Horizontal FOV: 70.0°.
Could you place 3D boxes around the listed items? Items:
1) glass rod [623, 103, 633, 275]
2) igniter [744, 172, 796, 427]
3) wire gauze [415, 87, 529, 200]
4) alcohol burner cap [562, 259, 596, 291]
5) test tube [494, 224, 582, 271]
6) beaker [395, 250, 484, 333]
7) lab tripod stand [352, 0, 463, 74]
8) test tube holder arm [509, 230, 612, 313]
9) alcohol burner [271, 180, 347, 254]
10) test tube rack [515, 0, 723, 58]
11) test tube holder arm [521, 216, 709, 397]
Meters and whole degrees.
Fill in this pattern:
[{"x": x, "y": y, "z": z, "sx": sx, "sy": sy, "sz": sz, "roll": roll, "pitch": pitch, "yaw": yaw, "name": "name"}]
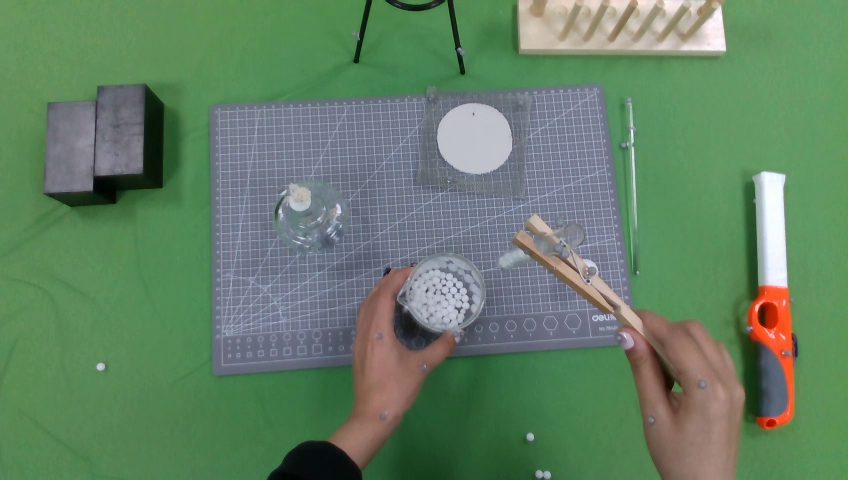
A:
[{"x": 0.231, "y": -0.060, "z": 0.684, "sx": 0.008, "sy": 0.008, "sz": 0.199, "roll": 2, "pitch": 81, "yaw": -2, "name": "glass rod"}, {"x": 0.373, "y": 0.061, "z": 0.657, "sx": 0.057, "sy": 0.025, "sz": 0.275, "roll": 6, "pitch": 79, "yaw": -11, "name": "igniter"}, {"x": 0.056, "y": -0.112, "z": 0.687, "sx": 0.125, "sy": 0.011, "sz": 0.121, "roll": 7, "pitch": 80, "yaw": -1, "name": "wire gauze"}, {"x": 0.167, "y": 0.035, "z": 0.644, "sx": 0.034, "sy": 0.048, "sz": 0.033, "roll": 0, "pitch": 78, "yaw": -2, "name": "alcohol burner cap"}, {"x": 0.080, "y": 0.008, "z": 0.453, "sx": 0.017, "sy": 0.150, "sz": 0.017, "roll": 2, "pitch": 81, "yaw": -10, "name": "test tube"}, {"x": 0.013, "y": 0.057, "z": 0.603, "sx": 0.084, "sy": 0.100, "sz": 0.073, "roll": -8, "pitch": 80, "yaw": -4, "name": "beaker"}, {"x": -0.014, "y": -0.247, "z": 0.649, "sx": 0.148, "sy": 0.132, "sz": 0.148, "roll": 0, "pitch": 81, "yaw": -2, "name": "lab tripod stand"}, {"x": 0.099, "y": 0.023, "z": 0.431, "sx": 0.088, "sy": 0.015, "sz": 0.010, "roll": 36, "pitch": 81, "yaw": -1, "name": "test tube holder arm"}, {"x": -0.119, "y": -0.028, "z": 0.609, "sx": 0.078, "sy": 0.119, "sz": 0.077, "roll": 0, "pitch": 78, "yaw": 1, "name": "alcohol burner"}, {"x": 0.231, "y": -0.258, "z": 0.685, "sx": 0.242, "sy": 0.085, "sz": 0.066, "roll": 0, "pitch": 78, "yaw": -2, "name": "test tube rack"}, {"x": 0.136, "y": 0.048, "z": 0.433, "sx": 0.178, "sy": 0.015, "sz": 0.013, "roll": 43, "pitch": 81, "yaw": -1, "name": "test tube holder arm"}]
